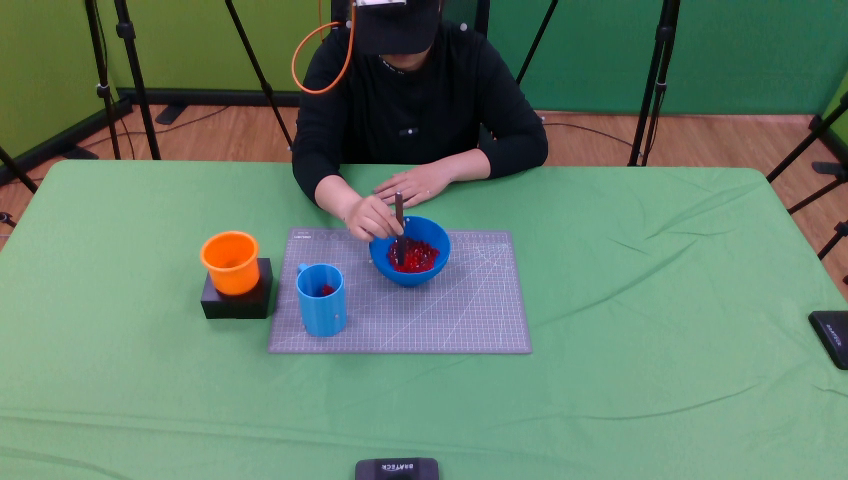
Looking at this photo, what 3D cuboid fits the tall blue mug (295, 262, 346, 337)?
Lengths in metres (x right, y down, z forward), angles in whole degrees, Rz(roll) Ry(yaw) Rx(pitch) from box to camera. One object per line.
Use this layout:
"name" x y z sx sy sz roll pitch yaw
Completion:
"tall blue mug" -0.187 0.096 1.027 0.107 0.108 0.077 21 49 16

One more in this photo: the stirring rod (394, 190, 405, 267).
"stirring rod" -0.042 -0.016 1.052 0.014 0.177 0.006 19 48 19

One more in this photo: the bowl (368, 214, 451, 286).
"bowl" -0.027 0.032 1.122 0.151 0.077 0.150 2 46 -2
